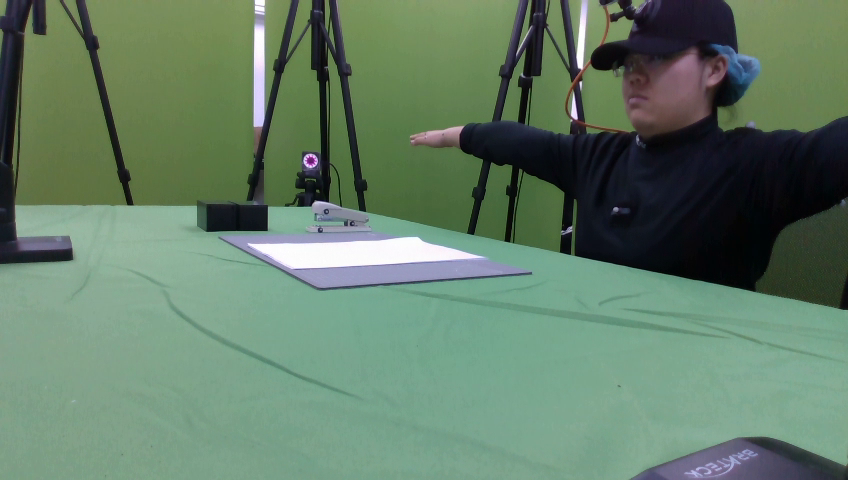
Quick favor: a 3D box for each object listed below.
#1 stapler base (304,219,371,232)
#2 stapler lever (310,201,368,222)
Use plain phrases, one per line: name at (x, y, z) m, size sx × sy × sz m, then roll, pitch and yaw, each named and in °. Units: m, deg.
stapler base at (-0.169, -0.030, 1.186) m, size 0.131 × 0.024 × 0.041 m, roll 0°, pitch 9°, yaw -33°
stapler lever at (-0.166, -0.055, 1.184) m, size 0.119 × 0.040 × 0.026 m, roll 0°, pitch 9°, yaw -33°
